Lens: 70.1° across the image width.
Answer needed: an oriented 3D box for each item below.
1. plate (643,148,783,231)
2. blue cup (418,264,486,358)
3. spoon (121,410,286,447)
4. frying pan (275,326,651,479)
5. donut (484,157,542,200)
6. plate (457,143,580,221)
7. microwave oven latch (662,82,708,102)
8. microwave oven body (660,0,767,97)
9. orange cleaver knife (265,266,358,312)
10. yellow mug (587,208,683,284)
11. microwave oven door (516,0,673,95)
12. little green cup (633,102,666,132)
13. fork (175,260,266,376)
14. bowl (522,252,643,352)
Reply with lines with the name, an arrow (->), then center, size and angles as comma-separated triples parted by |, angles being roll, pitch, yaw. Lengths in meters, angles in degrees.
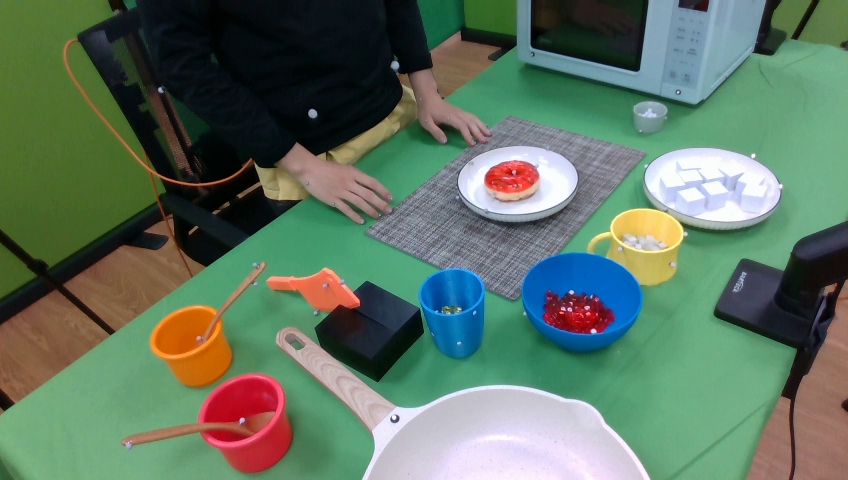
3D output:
plate -> 0.464, -0.080, 0.986 | 0.207, 0.039, 0.206 | -4, 40, 4
blue cup -> 0.042, 0.100, 0.787 | 0.092, 0.101, 0.092 | -5, 41, 5
spoon -> -0.236, 0.208, 0.669 | 0.041, 0.021, 0.195 | 35, 13, 38
frying pan -> 0.003, 0.229, 0.641 | 0.484, 0.103, 0.308 | 34, 54, 28
donut -> 0.153, -0.107, 1.039 | 0.099, 0.048, 0.098 | -5, 37, 5
plate -> 0.161, -0.097, 1.042 | 0.209, 0.038, 0.208 | -4, 40, 4
microwave oven latch -> 0.517, -0.298, 1.202 | 0.078, 0.029, 0.030 | 28, 52, 35
microwave oven body -> 0.473, -0.516, 1.313 | 0.438, 0.261, 0.327 | 26, 51, 34
orange cleaver knife -> -0.164, 0.073, 0.864 | 0.210, 0.077, 0.012 | -6, 31, 50
yellow mug -> 0.305, 0.009, 0.884 | 0.131, 0.064, 0.099 | -4, 41, 5
microwave oven door -> 0.344, -0.458, 1.256 | 0.353, 0.245, 0.039 | 26, 51, 33
little green cup -> 0.434, -0.238, 1.171 | 0.061, 0.039, 0.061 | -4, 40, 4
fork -> -0.268, 0.103, 0.792 | 0.207, 0.019, 0.028 | -51, 41, 16
bowl -> 0.204, 0.093, 0.792 | 0.151, 0.077, 0.150 | -4, 40, 4
